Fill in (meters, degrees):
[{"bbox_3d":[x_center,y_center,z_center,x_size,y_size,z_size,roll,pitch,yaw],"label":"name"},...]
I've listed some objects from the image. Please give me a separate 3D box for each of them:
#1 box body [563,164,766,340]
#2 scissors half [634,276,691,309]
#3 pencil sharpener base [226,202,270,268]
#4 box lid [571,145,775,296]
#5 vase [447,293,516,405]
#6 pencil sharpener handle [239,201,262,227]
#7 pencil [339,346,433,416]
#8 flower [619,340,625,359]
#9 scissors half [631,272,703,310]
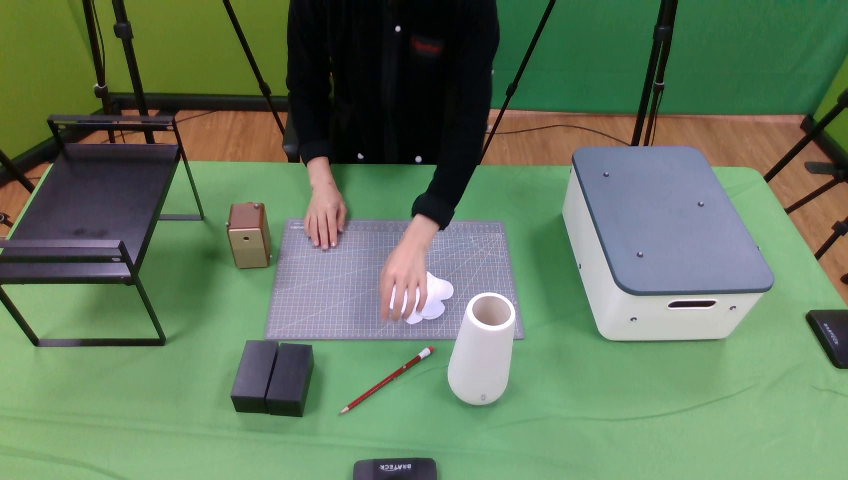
[{"bbox_3d":[0.421,0.003,1.130,0.254,0.161,0.361,0,46,-5],"label":"box body"},{"bbox_3d":[0.454,0.096,1.144,0.175,0.040,0.013,-20,89,-31],"label":"scissors half"},{"bbox_3d":[-0.323,-0.010,1.123,0.061,0.107,0.076,-3,46,-7],"label":"pencil sharpener base"},{"bbox_3d":[0.424,-0.048,1.074,0.263,0.015,0.369,-1,46,-4],"label":"box lid"},{"bbox_3d":[0.091,0.169,0.921,0.098,0.201,0.097,3,47,-3],"label":"vase"},{"bbox_3d":[-0.325,-0.056,1.150,0.036,0.068,0.030,-13,46,4],"label":"pencil sharpener handle"},{"bbox_3d":[-0.058,0.227,0.983,0.194,0.012,0.012,-32,56,-29],"label":"pencil"},{"bbox_3d":[0.416,0.065,1.186,0.038,0.044,0.360,29,64,-20],"label":"flower"},{"bbox_3d":[0.460,0.092,1.132,0.175,0.040,0.013,-22,83,-21],"label":"scissors half"}]
